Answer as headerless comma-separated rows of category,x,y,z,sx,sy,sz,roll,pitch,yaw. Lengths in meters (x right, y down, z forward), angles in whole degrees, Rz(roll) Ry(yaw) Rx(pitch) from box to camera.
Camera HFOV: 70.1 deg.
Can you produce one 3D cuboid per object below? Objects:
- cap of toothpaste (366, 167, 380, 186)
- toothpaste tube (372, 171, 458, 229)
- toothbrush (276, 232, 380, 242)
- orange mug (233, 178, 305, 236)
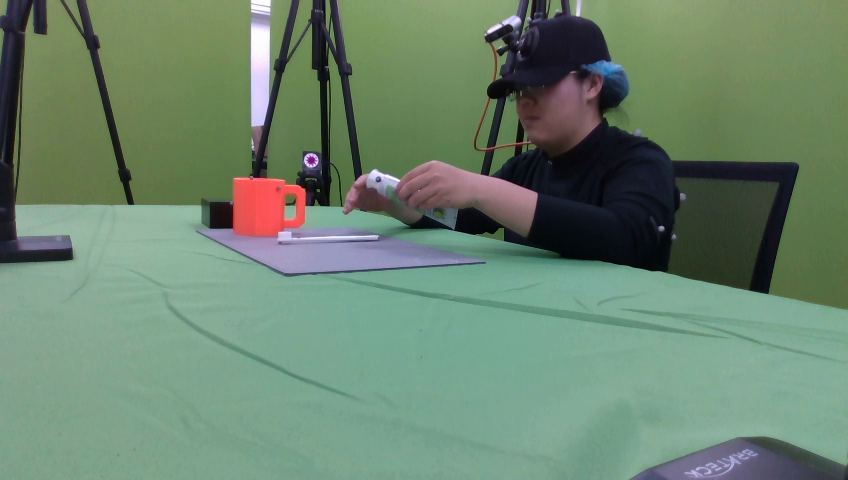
cap of toothpaste,-0.084,-0.107,1.029,0.011,0.037,0.037,27,15,16
toothpaste tube,-0.018,-0.073,1.006,0.165,0.055,0.034,28,57,14
toothbrush,-0.153,-0.005,0.990,0.183,0.016,0.014,0,-4,-33
orange mug,-0.273,-0.061,1.067,0.127,0.101,0.083,-5,10,-24
